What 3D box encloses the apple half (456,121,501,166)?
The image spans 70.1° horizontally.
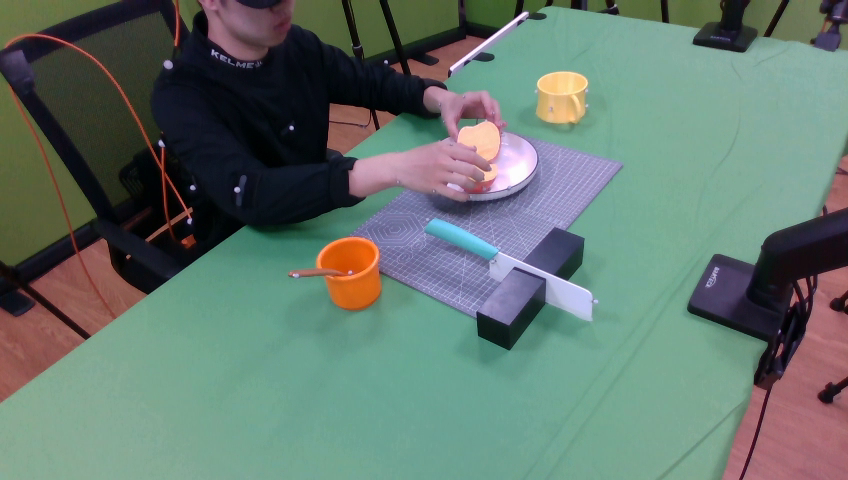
[{"bbox_3d":[0.103,-0.174,1.103,0.080,0.053,0.074,-18,84,10],"label":"apple half"}]

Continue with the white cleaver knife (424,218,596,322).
[{"bbox_3d":[0.114,0.042,0.865,0.284,0.066,0.021,27,47,28],"label":"white cleaver knife"}]

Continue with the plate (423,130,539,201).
[{"bbox_3d":[0.103,-0.132,1.092,0.209,0.038,0.208,-4,40,4],"label":"plate"}]

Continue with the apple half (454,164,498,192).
[{"bbox_3d":[0.095,-0.103,1.052,0.081,0.033,0.081,-11,27,6],"label":"apple half"}]

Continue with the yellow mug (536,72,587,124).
[{"bbox_3d":[0.285,-0.281,1.222,0.100,0.064,0.130,-16,42,-9],"label":"yellow mug"}]

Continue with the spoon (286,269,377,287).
[{"bbox_3d":[-0.125,0.050,0.831,0.041,0.195,0.021,22,92,28],"label":"spoon"}]
